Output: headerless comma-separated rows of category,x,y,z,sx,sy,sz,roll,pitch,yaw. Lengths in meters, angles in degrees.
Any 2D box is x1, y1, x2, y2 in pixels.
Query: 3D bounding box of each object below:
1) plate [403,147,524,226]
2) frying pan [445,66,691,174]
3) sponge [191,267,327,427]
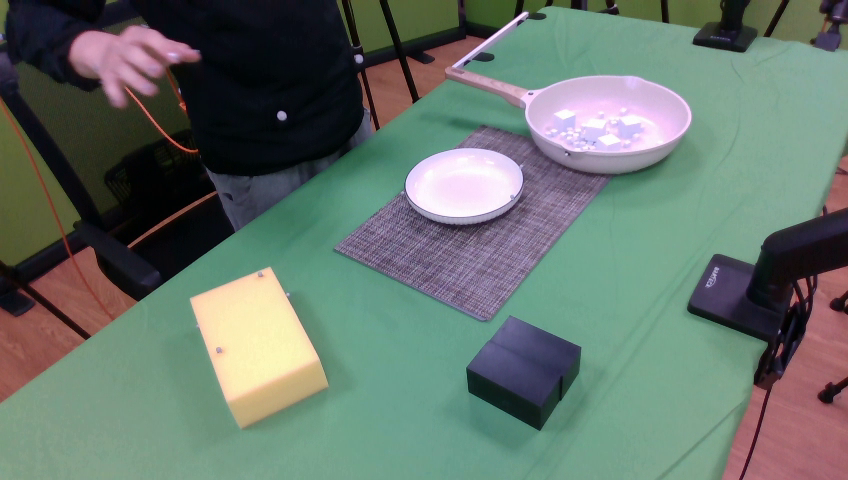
plate,0.069,-0.089,1.044,0.207,0.039,0.206,-4,41,4
frying pan,0.250,-0.258,1.165,0.485,0.103,0.307,27,48,22
sponge,-0.226,0.135,0.814,0.119,0.061,0.205,-23,43,-19
